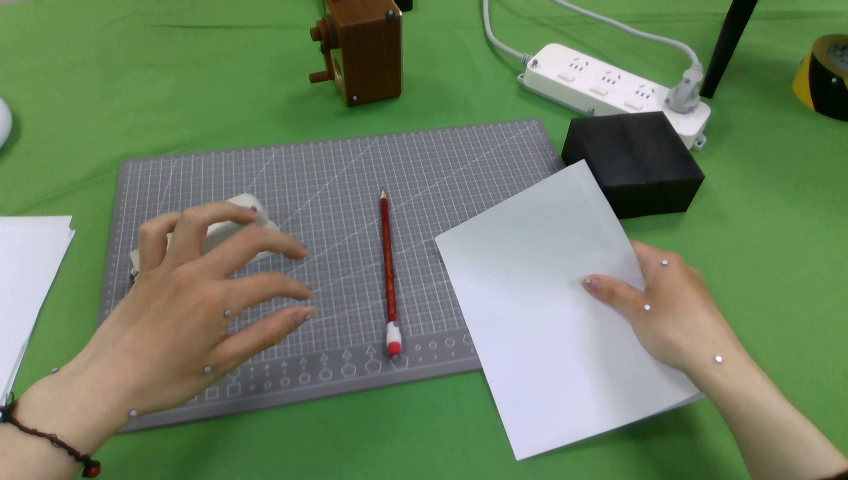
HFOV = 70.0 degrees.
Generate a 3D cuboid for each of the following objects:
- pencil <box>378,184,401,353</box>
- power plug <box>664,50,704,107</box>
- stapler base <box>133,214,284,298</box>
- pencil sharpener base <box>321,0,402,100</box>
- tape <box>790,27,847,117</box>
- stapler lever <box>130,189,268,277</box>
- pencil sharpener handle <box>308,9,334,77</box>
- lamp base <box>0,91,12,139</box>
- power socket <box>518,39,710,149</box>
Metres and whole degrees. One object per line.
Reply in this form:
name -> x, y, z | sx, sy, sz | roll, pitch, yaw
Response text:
pencil -> -0.034, 0.016, 0.546 | 0.012, 0.012, 0.192 | -3, 50, -5
power plug -> 0.297, -0.171, 0.675 | 0.072, 0.053, 0.035 | -36, 61, -27
stapler base -> -0.191, 0.006, 0.535 | 0.131, 0.024, 0.041 | -24, 55, -19
pencil sharpener base -> -0.070, -0.219, 0.675 | 0.077, 0.108, 0.060 | -17, 54, -16
tape -> 0.514, -0.204, 0.731 | 0.117, 0.053, 0.115 | 2, 52, -2
stapler lever -> -0.191, -0.008, 0.515 | 0.118, 0.040, 0.026 | -24, 54, -20
pencil sharpener handle -> -0.114, -0.209, 0.647 | 0.031, 0.068, 0.035 | -17, 31, -16
lamp base -> -0.515, -0.171, 0.561 | 0.160, 0.182, 0.177 | -35, 58, -27
power socket -> 0.219, -0.173, 0.702 | 0.225, 0.033, 0.072 | 30, 55, 21
